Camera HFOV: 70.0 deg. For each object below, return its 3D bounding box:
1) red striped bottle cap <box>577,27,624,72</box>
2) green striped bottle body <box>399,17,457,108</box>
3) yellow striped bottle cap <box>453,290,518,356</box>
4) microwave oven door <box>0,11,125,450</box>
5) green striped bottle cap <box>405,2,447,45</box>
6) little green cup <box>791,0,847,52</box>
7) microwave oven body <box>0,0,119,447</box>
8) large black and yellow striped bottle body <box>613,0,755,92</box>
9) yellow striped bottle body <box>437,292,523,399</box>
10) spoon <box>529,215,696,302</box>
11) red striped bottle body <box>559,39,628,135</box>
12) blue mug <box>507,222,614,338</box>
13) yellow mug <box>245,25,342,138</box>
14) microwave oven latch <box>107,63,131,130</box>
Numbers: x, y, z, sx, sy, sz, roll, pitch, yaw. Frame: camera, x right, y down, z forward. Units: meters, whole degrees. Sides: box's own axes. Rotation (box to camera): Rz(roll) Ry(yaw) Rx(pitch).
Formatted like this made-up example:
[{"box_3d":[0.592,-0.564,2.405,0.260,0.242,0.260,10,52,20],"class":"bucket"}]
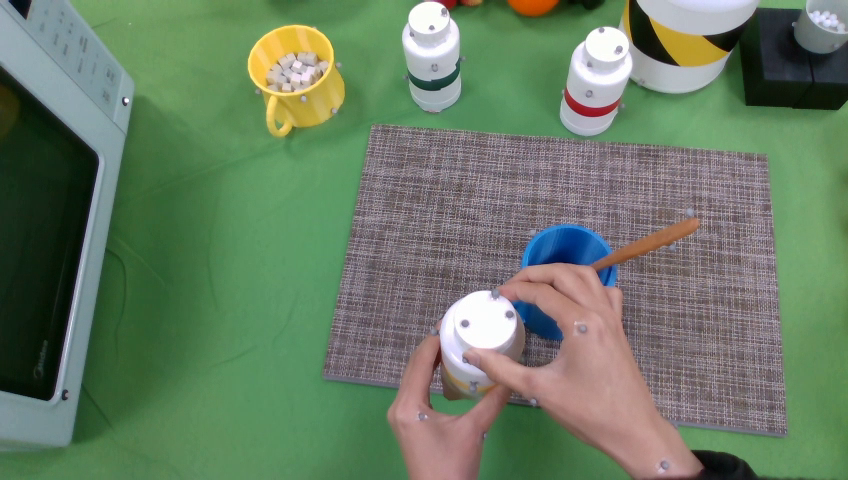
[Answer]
[{"box_3d":[0.178,-0.192,0.609,0.044,0.018,0.044,0,67,0],"class":"red striped bottle cap"},{"box_3d":[0.006,-0.208,0.685,0.063,0.120,0.062,-1,68,3],"class":"green striped bottle body"},{"box_3d":[0.042,0.057,0.418,0.044,0.019,0.044,-5,57,7],"class":"yellow striped bottle cap"},{"box_3d":[-0.374,-0.006,0.546,0.039,0.245,0.353,-3,68,4],"class":"microwave oven door"},{"box_3d":[0.002,-0.228,0.637,0.044,0.020,0.044,-2,66,4],"class":"green striped bottle cap"},{"box_3d":[0.432,-0.236,0.654,0.061,0.039,0.061,0,66,1],"class":"little green cup"},{"box_3d":[-0.521,-0.035,0.573,0.326,0.262,0.438,-3,68,3],"class":"microwave oven body"},{"box_3d":[0.283,-0.264,0.653,0.131,0.185,0.130,-1,68,4],"class":"large black and yellow striped bottle body"},{"box_3d":[0.042,0.081,0.470,0.063,0.121,0.062,0,64,1],"class":"yellow striped bottle body"},{"box_3d":[0.154,0.022,0.539,0.022,0.194,0.041,7,64,-31],"class":"spoon"},{"box_3d":[0.183,-0.172,0.657,0.063,0.120,0.062,-2,66,6],"class":"red striped bottle body"},{"box_3d":[0.115,0.049,0.578,0.116,0.106,0.081,-29,68,-7],"class":"blue mug"},{"box_3d":[-0.158,-0.180,0.715,0.099,0.064,0.130,15,71,10],"class":"yellow mug"},{"box_3d":[-0.371,-0.170,0.721,0.030,0.030,0.078,-2,69,3],"class":"microwave oven latch"}]
